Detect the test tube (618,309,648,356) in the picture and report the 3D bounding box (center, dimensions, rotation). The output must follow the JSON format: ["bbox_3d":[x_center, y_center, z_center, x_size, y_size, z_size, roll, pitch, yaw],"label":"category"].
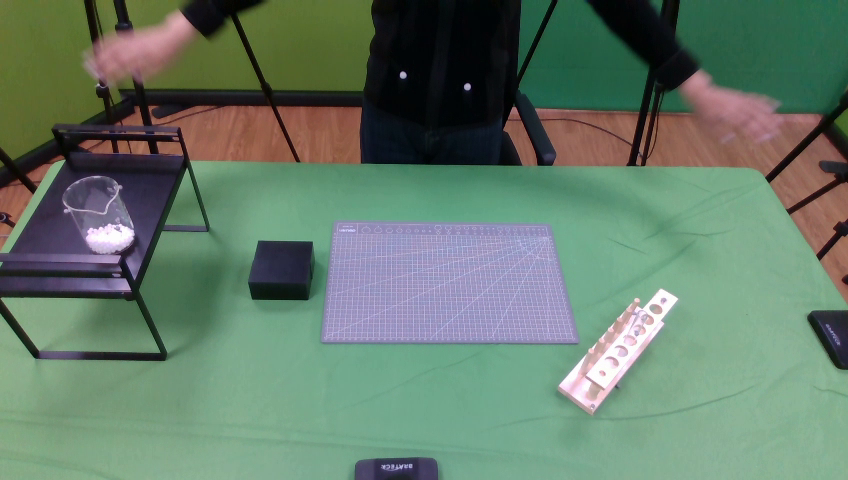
[{"bbox_3d":[0.327,0.154,0.955,0.017,0.151,0.017,-1,51,1],"label":"test tube"}]

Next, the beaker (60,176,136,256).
[{"bbox_3d":[-0.470,-0.031,0.888,0.074,0.101,0.083,-31,56,-28],"label":"beaker"}]

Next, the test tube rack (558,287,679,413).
[{"bbox_3d":[0.326,0.170,1.009,0.066,0.085,0.242,35,54,26],"label":"test tube rack"}]
